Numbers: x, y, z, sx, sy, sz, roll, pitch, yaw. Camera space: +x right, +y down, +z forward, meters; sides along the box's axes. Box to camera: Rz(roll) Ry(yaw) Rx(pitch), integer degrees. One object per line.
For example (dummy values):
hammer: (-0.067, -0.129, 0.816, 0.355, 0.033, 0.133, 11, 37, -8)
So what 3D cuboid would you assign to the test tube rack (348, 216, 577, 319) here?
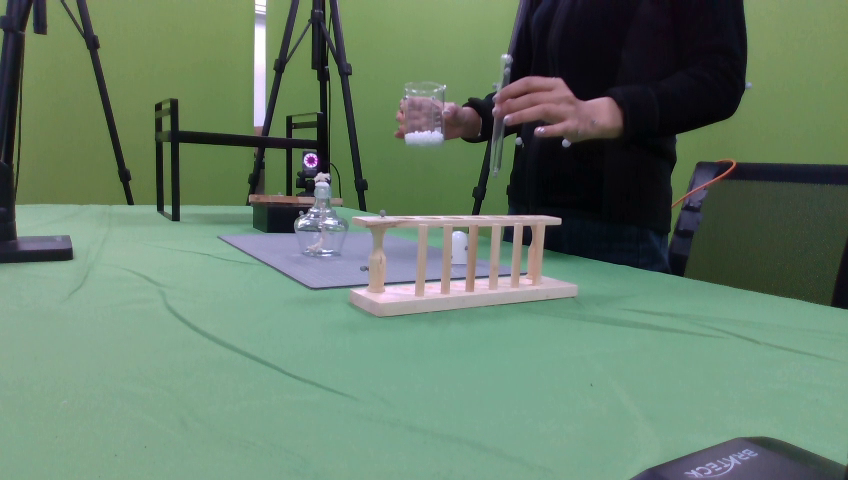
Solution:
test tube rack: (0.048, 0.021, 0.619, 0.244, 0.085, 0.066, -2, 9, -31)

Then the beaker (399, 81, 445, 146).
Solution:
beaker: (0.001, -0.212, 1.021, 0.083, 0.100, 0.074, 2, 5, 35)

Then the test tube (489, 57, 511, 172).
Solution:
test tube: (0.100, -0.164, 0.800, 0.017, 0.150, 0.017, 4, 10, 0)

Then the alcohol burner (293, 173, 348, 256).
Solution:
alcohol burner: (-0.146, -0.036, 0.859, 0.078, 0.119, 0.078, 4, 8, 0)

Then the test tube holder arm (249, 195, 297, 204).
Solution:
test tube holder arm: (-0.284, -0.076, 1.141, 0.088, 0.015, 0.010, 0, 9, -29)

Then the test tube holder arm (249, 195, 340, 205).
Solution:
test tube holder arm: (-0.247, -0.077, 1.168, 0.179, 0.015, 0.013, 0, 9, -31)

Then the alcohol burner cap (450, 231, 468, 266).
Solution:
alcohol burner cap: (0.046, 0.011, 0.838, 0.034, 0.048, 0.034, 2, 7, 0)
